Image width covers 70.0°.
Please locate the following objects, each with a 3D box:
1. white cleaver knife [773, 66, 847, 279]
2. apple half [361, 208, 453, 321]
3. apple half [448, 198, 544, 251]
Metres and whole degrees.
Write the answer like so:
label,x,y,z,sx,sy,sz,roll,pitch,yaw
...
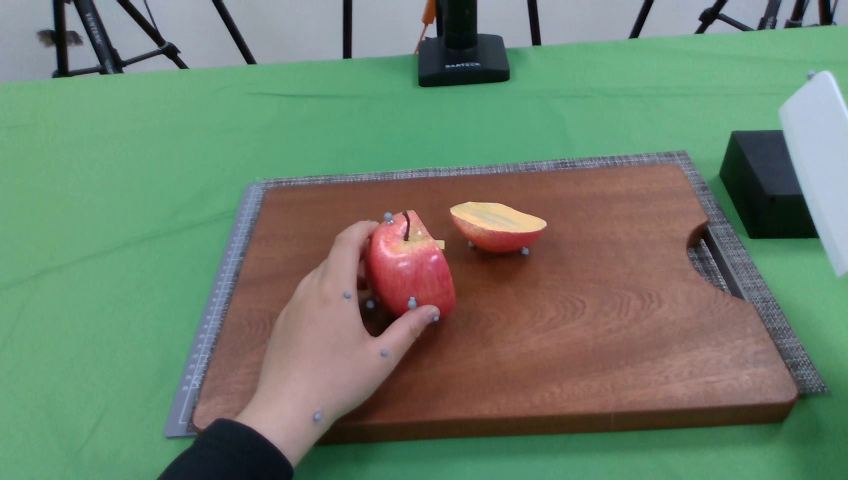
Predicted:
label,x,y,z,sx,sy,sz,roll,pitch,yaw
white cleaver knife,0.307,-0.009,0.427,0.021,0.066,0.284,7,56,-6
apple half,-0.017,0.023,0.444,0.053,0.075,0.080,-23,48,-12
apple half,0.054,-0.008,0.495,0.081,0.033,0.081,7,21,-3
